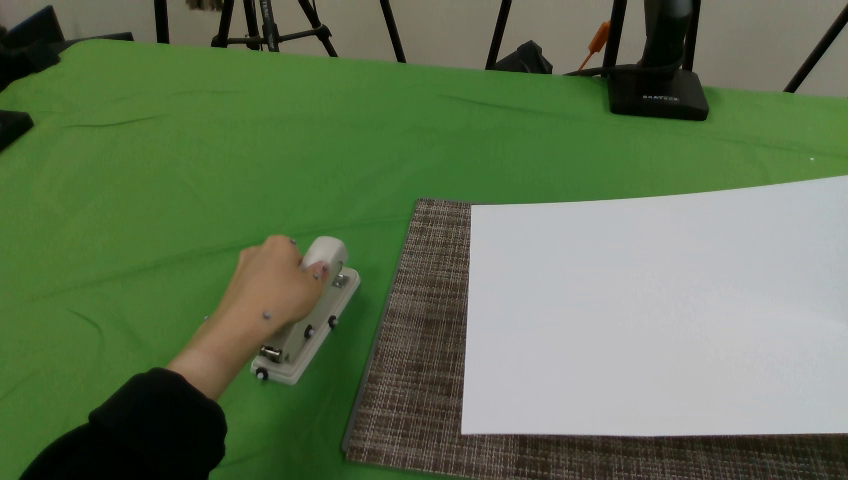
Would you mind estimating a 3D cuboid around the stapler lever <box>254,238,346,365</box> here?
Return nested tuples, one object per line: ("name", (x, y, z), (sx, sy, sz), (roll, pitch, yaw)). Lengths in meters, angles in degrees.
("stapler lever", (-0.098, 0.045, 0.492), (0.026, 0.040, 0.117), (13, 44, 15))

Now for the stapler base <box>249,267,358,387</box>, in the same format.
("stapler base", (-0.098, 0.062, 0.510), (0.041, 0.024, 0.130), (13, 45, 15))
